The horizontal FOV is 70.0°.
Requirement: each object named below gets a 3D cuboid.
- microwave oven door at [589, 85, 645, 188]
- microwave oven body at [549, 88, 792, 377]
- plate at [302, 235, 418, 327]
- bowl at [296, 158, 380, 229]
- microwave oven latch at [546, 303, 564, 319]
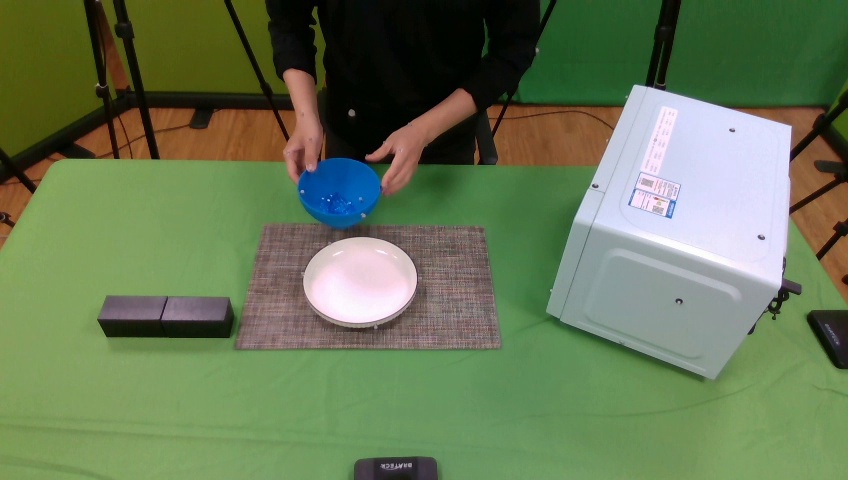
[{"bbox_3d":[0.342,-0.107,1.149,0.039,0.245,0.354,20,48,15],"label":"microwave oven door"},{"bbox_3d":[0.456,-0.028,1.088,0.325,0.261,0.440,20,47,16],"label":"microwave oven body"},{"bbox_3d":[-0.114,0.077,1.098,0.208,0.039,0.206,2,46,-2],"label":"plate"},{"bbox_3d":[-0.158,-0.074,1.121,0.151,0.077,0.150,3,49,-3],"label":"bowl"},{"bbox_3d":[0.242,0.102,1.081,0.030,0.029,0.079,22,48,17],"label":"microwave oven latch"}]
